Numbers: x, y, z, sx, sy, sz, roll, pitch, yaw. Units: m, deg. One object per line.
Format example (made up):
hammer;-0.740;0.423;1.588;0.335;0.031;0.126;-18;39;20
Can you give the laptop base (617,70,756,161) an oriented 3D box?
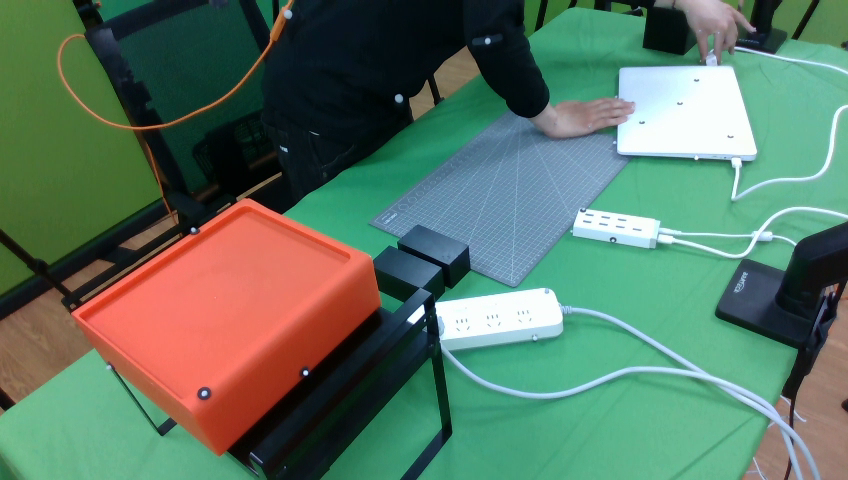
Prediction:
laptop base;0.507;-0.254;1.206;0.235;0.023;0.353;3;40;15

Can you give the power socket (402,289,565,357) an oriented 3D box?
power socket;0.081;0.112;0.822;0.227;0.033;0.072;-7;41;0

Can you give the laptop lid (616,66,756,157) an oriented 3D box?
laptop lid;0.504;-0.265;1.197;0.241;0.013;0.356;4;41;17

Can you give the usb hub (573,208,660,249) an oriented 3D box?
usb hub;0.302;-0.019;0.950;0.124;0.025;0.049;11;43;20

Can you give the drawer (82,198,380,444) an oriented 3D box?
drawer;-0.184;0.066;0.600;0.193;0.073;0.212;24;50;31

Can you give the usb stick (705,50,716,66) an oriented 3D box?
usb stick;0.628;-0.391;1.326;0.021;0.027;0.059;0;46;22

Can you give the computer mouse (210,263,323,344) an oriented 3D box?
computer mouse;-0.164;0.062;0.624;0.116;0.041;0.063;22;44;27

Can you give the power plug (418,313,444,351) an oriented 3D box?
power plug;0.007;0.127;0.786;0.035;0.053;0.072;0;43;8

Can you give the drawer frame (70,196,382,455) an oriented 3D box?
drawer frame;-0.186;0.068;0.597;0.200;0.083;0.214;23;49;30
